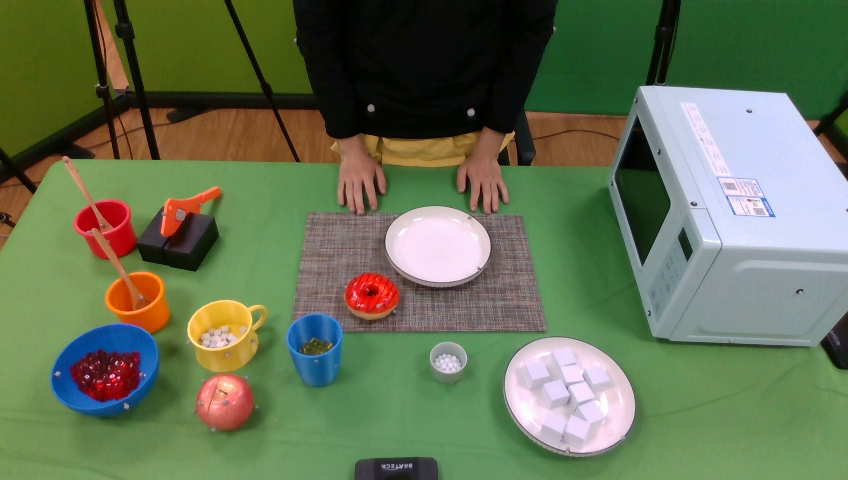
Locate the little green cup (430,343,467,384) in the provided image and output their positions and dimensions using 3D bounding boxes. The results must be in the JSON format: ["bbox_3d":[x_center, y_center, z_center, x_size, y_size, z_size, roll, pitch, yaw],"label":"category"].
[{"bbox_3d":[0.039,0.203,0.994,0.061,0.039,0.061,2,46,-2],"label":"little green cup"}]

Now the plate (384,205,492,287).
[{"bbox_3d":[0.027,0.015,1.169,0.209,0.038,0.208,2,46,-2],"label":"plate"}]

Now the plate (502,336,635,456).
[{"bbox_3d":[0.225,0.248,0.963,0.208,0.039,0.206,2,46,-2],"label":"plate"}]

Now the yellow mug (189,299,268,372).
[{"bbox_3d":[-0.316,0.149,1.002,0.131,0.064,0.099,-32,56,-32],"label":"yellow mug"}]

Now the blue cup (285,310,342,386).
[{"bbox_3d":[-0.170,0.179,0.958,0.093,0.101,0.092,1,44,-1],"label":"blue cup"}]

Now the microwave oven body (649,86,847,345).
[{"bbox_3d":[0.568,-0.053,1.118,0.326,0.261,0.439,2,45,-1],"label":"microwave oven body"}]

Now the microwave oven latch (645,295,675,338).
[{"bbox_3d":[0.412,0.134,1.061,0.030,0.029,0.078,3,45,0],"label":"microwave oven latch"}]

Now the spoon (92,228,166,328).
[{"bbox_3d":[-0.495,0.063,1.014,0.041,0.194,0.021,-34,12,-31],"label":"spoon"}]

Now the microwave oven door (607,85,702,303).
[{"bbox_3d":[0.423,-0.094,1.141,0.039,0.245,0.353,2,46,-1],"label":"microwave oven door"}]

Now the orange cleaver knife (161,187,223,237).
[{"bbox_3d":[-0.448,-0.058,1.180,0.012,0.077,0.211,13,17,6],"label":"orange cleaver knife"}]

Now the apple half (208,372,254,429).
[{"bbox_3d":[-0.282,0.244,0.908,0.053,0.075,0.080,7,42,-1],"label":"apple half"}]

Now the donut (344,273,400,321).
[{"bbox_3d":[-0.092,0.099,1.075,0.099,0.048,0.098,3,44,-2],"label":"donut"}]

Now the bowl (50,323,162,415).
[{"bbox_3d":[-0.472,0.209,0.924,0.151,0.077,0.150,3,45,-2],"label":"bowl"}]

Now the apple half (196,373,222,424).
[{"bbox_3d":[-0.322,0.239,0.907,0.033,0.081,0.081,7,46,-1],"label":"apple half"}]

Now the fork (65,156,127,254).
[{"bbox_3d":[-0.614,-0.064,1.130,0.028,0.018,0.207,-29,96,-16],"label":"fork"}]
